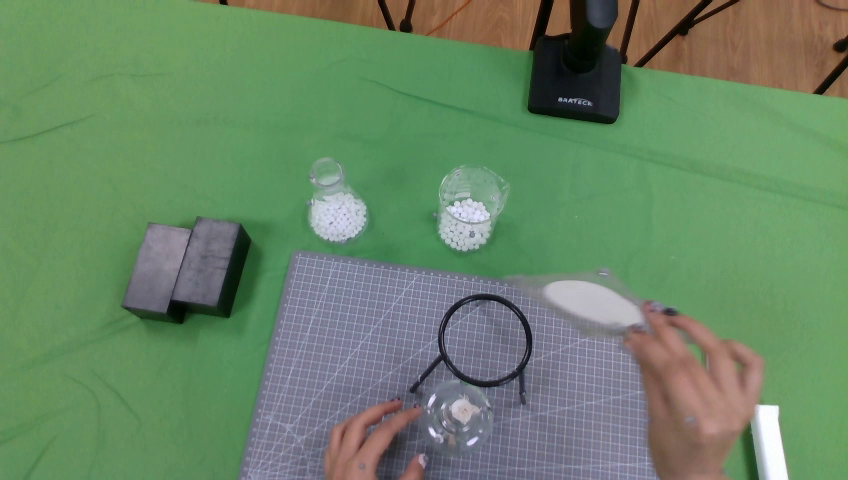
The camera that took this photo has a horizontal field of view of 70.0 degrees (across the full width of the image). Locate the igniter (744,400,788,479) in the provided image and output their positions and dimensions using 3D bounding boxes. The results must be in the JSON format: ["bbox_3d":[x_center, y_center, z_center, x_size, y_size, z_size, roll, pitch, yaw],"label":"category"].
[{"bbox_3d":[0.371,0.308,0.629,0.057,0.025,0.274,6,69,-11],"label":"igniter"}]

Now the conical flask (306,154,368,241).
[{"bbox_3d":[-0.105,-0.053,0.694,0.075,0.122,0.075,1,69,-2],"label":"conical flask"}]

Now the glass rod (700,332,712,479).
[{"bbox_3d":[0.317,0.200,0.680,0.008,0.008,0.198,8,68,1],"label":"glass rod"}]

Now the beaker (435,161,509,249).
[{"bbox_3d":[0.052,-0.037,0.707,0.084,0.101,0.073,-17,71,-9],"label":"beaker"}]

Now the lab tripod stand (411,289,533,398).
[{"bbox_3d":[0.054,0.115,0.628,0.148,0.132,0.147,1,71,-1],"label":"lab tripod stand"}]

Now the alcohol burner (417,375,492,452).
[{"bbox_3d":[0.033,0.174,0.616,0.078,0.120,0.077,1,68,-3],"label":"alcohol burner"}]

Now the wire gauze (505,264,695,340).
[{"bbox_3d":[0.152,0.052,0.533,0.126,0.011,0.120,2,24,-27],"label":"wire gauze"}]
